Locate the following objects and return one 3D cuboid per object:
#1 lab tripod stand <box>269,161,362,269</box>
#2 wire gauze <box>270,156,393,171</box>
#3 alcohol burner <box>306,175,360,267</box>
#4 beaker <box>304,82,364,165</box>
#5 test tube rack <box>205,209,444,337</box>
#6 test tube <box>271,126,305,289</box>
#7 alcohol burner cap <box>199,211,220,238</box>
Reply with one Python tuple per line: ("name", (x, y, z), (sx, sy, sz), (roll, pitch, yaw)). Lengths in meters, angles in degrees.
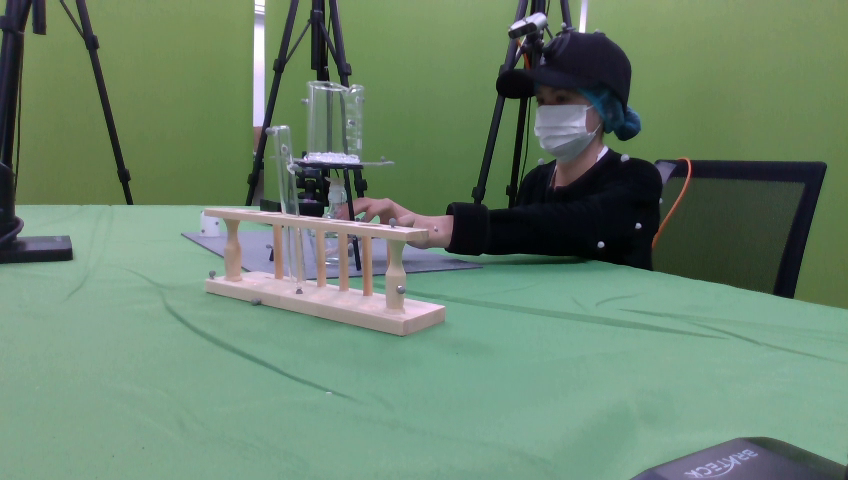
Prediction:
("lab tripod stand", (-0.125, -0.036, 0.794), (0.148, 0.131, 0.148), (5, 7, 0))
("wire gauze", (-0.122, -0.100, 0.786), (0.122, 0.011, 0.124), (-5, 14, -38))
("alcohol burner", (-0.115, -0.025, 0.793), (0.078, 0.119, 0.078), (1, 8, 0))
("beaker", (-0.115, -0.148, 0.779), (0.074, 0.100, 0.083), (-2, 10, -30))
("test tube rack", (-0.100, 0.021, 0.565), (0.241, 0.085, 0.067), (7, 9, 32))
("test tube", (-0.124, -0.028, 0.554), (0.017, 0.150, 0.017), (-5, 7, 1))
("alcohol burner cap", (-0.356, -0.027, 1.002), (0.034, 0.048, 0.034), (2, 7, 0))
